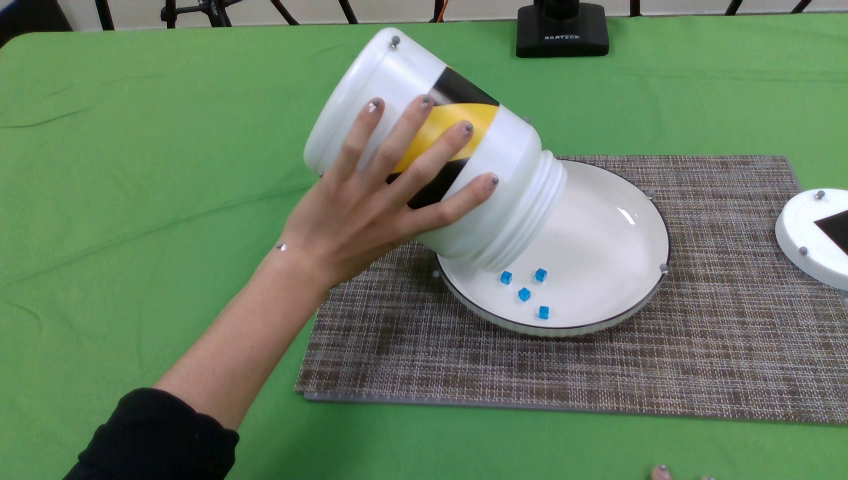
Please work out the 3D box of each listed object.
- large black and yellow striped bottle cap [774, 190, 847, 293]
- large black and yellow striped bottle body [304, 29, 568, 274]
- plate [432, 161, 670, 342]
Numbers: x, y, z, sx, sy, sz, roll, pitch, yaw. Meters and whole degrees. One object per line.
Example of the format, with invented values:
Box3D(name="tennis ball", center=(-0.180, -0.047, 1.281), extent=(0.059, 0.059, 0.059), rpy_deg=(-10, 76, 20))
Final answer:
Box3D(name="large black and yellow striped bottle cap", center=(0.378, -0.001, 0.542), extent=(0.115, 0.019, 0.114), rpy_deg=(-1, 49, 1))
Box3D(name="large black and yellow striped bottle body", center=(0.012, -0.066, 0.496), extent=(0.184, 0.131, 0.130), rpy_deg=(34, 53, -8))
Box3D(name="plate", center=(0.112, 0.008, 0.549), extent=(0.207, 0.039, 0.205), rpy_deg=(-3, 47, 4))
